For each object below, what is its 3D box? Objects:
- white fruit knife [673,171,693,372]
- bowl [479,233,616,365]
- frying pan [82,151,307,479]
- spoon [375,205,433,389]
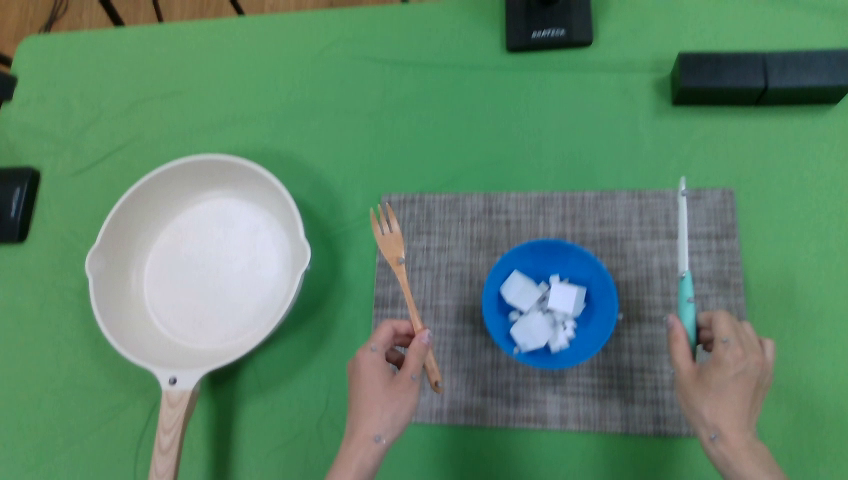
[{"bbox_3d":[0.259,0.034,0.612,0.016,0.027,0.207,-3,93,0],"label":"white fruit knife"},{"bbox_3d":[0.142,0.075,0.710,0.151,0.077,0.150,-2,74,8],"label":"bowl"},{"bbox_3d":[-0.296,0.123,0.757,0.306,0.103,0.484,-1,66,10],"label":"frying pan"},{"bbox_3d":[-0.016,0.059,0.626,0.041,0.021,0.193,-11,86,-1],"label":"spoon"}]
